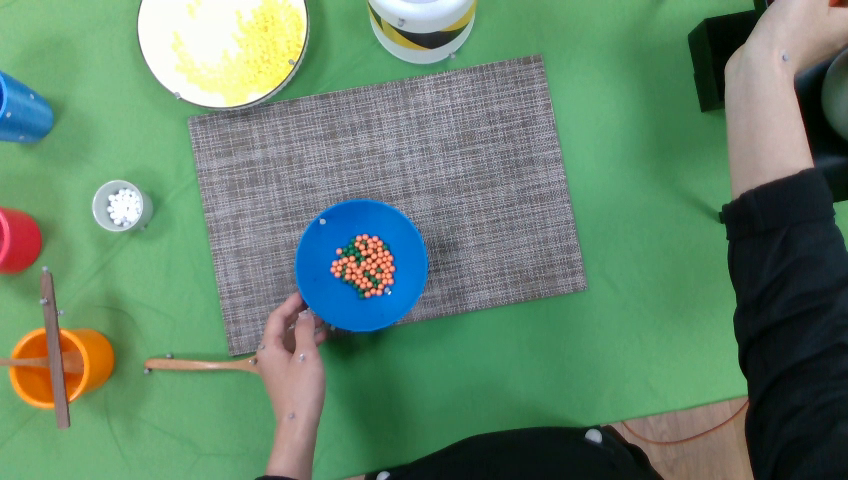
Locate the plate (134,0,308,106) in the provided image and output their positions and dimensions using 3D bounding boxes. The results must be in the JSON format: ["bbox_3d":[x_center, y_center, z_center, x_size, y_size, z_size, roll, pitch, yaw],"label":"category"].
[{"bbox_3d":[-0.245,-0.265,0.744,0.209,0.038,0.209,0,89,0],"label":"plate"}]

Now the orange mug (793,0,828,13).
[{"bbox_3d":[0.381,-0.269,0.537,0.083,0.101,0.126,29,84,1],"label":"orange mug"}]

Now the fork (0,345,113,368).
[{"bbox_3d":[-0.462,0.130,0.677,0.209,0.018,0.028,11,90,-43],"label":"fork"}]

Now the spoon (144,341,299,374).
[{"bbox_3d":[-0.248,0.144,0.740,0.194,0.021,0.042,0,103,-1],"label":"spoon"}]

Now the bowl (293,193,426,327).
[{"bbox_3d":[-0.072,0.023,0.713,0.151,0.077,0.151,0,89,0],"label":"bowl"}]

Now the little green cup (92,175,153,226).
[{"bbox_3d":[-0.364,-0.045,0.737,0.061,0.038,0.061,0,89,1],"label":"little green cup"}]

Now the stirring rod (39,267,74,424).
[{"bbox_3d":[-0.410,0.117,0.675,0.014,0.006,0.176,-9,89,-1],"label":"stirring rod"}]

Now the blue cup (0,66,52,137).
[{"bbox_3d":[-0.496,-0.160,0.708,0.092,0.100,0.092,0,89,2],"label":"blue cup"}]

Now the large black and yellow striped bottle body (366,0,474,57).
[{"bbox_3d":[-0.005,-0.295,0.673,0.131,0.184,0.130,0,88,0],"label":"large black and yellow striped bottle body"}]

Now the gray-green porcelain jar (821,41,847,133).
[{"bbox_3d":[0.423,-0.145,0.521,0.106,0.126,0.105,0,88,1],"label":"gray-green porcelain jar"}]
